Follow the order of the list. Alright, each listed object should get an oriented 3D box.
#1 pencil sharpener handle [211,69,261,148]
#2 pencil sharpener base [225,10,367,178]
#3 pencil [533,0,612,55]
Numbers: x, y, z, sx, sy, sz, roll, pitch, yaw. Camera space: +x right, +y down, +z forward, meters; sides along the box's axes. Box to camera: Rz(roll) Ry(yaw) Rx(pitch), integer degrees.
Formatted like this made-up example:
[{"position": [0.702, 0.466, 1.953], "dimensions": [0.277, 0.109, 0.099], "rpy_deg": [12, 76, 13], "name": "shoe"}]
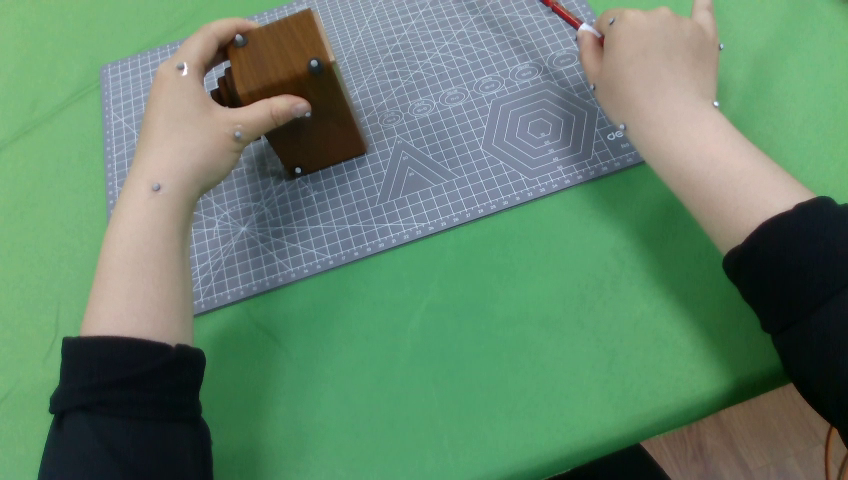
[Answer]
[{"position": [-0.146, -0.094, 0.453], "dimensions": [0.030, 0.068, 0.035], "rpy_deg": [-21, 62, -1], "name": "pencil sharpener handle"}, {"position": [-0.096, -0.107, 0.465], "dimensions": [0.077, 0.108, 0.061], "rpy_deg": [-21, 61, -1], "name": "pencil sharpener base"}, {"position": [0.086, -0.210, 0.508], "dimensions": [0.012, 0.012, 0.192], "rpy_deg": [-36, 62, -10], "name": "pencil"}]
